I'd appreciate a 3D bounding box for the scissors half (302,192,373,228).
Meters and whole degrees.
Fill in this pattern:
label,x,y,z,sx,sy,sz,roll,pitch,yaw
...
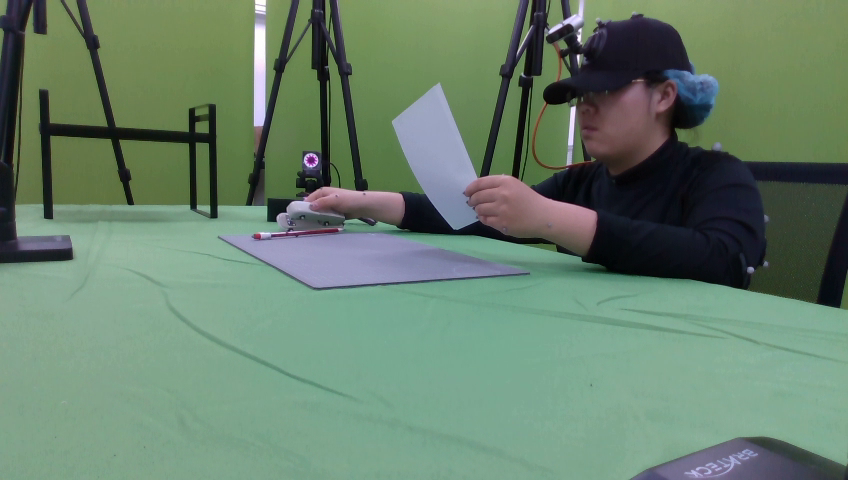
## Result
label,x,y,z,sx,sy,sz,roll,pitch,yaw
scissors half,-0.191,-0.068,1.314,0.175,0.013,0.040,26,17,7

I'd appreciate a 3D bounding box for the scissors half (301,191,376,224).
label,x,y,z,sx,sy,sz,roll,pitch,yaw
scissors half,-0.189,-0.073,1.334,0.175,0.013,0.040,22,12,-10

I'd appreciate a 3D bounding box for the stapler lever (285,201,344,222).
label,x,y,z,sx,sy,sz,roll,pitch,yaw
stapler lever,-0.204,-0.053,1.143,0.119,0.026,0.040,-1,-31,-34

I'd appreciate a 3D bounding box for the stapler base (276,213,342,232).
label,x,y,z,sx,sy,sz,roll,pitch,yaw
stapler base,-0.217,-0.039,1.159,0.131,0.041,0.024,-1,-31,-35

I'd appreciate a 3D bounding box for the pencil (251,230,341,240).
label,x,y,z,sx,sy,sz,roll,pitch,yaw
pencil,-0.215,-0.011,1.049,0.012,0.012,0.195,9,9,39
